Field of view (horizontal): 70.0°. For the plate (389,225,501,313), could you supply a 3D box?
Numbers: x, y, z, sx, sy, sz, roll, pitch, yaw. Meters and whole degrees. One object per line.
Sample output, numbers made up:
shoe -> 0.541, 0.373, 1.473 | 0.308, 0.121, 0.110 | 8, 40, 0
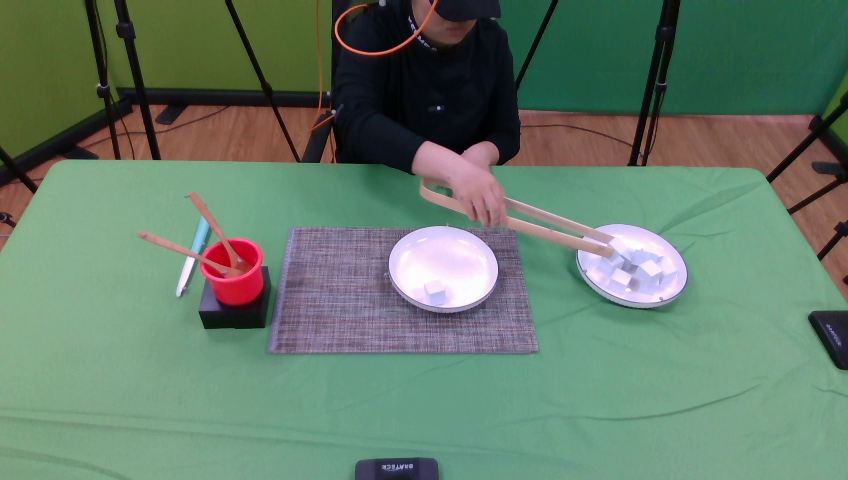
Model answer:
plate -> 0.038, 0.057, 1.129 | 0.208, 0.039, 0.206 | 2, 46, -2

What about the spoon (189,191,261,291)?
spoon -> -0.333, 0.001, 1.012 | 0.041, 0.194, 0.021 | -34, 15, -25

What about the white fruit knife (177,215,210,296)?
white fruit knife -> -0.434, 0.025, 1.148 | 0.027, 0.016, 0.206 | -18, 45, 18

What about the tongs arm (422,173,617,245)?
tongs arm -> 0.177, -0.061, 1.162 | 0.387, 0.028, 0.028 | 19, 49, 11

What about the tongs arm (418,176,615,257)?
tongs arm -> 0.168, -0.046, 1.145 | 0.384, 0.026, 0.050 | 17, 45, 8

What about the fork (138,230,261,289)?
fork -> -0.359, 0.032, 0.981 | 0.208, 0.018, 0.028 | 31, 60, -30

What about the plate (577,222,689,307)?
plate -> 0.396, 0.050, 1.165 | 0.209, 0.038, 0.208 | 2, 47, -2
